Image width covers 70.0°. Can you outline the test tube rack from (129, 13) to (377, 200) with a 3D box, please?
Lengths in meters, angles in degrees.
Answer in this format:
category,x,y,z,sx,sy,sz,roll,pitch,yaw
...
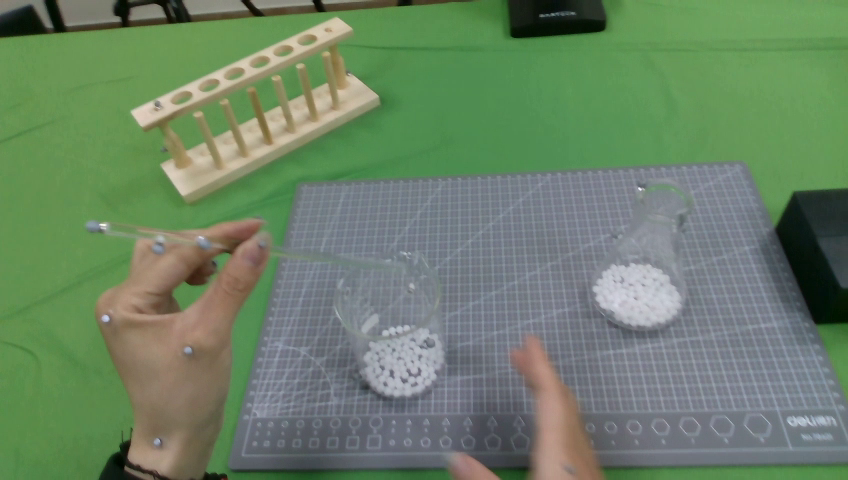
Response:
category,x,y,z,sx,sy,sz,roll,pitch,yaw
test tube rack,-0.174,-0.148,0.655,0.242,0.086,0.066,-33,54,-19

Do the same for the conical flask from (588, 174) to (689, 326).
category,x,y,z,sx,sy,sz,roll,pitch,yaw
conical flask,0.169,0.006,0.461,0.075,0.123,0.074,-3,51,4

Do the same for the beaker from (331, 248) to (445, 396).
category,x,y,z,sx,sy,sz,roll,pitch,yaw
beaker,-0.021,0.063,0.451,0.073,0.101,0.083,19,55,21

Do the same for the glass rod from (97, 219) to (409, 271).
category,x,y,z,sx,sy,sz,roll,pitch,yaw
glass rod,-0.085,0.006,0.363,0.201,0.008,0.008,10,36,-41
